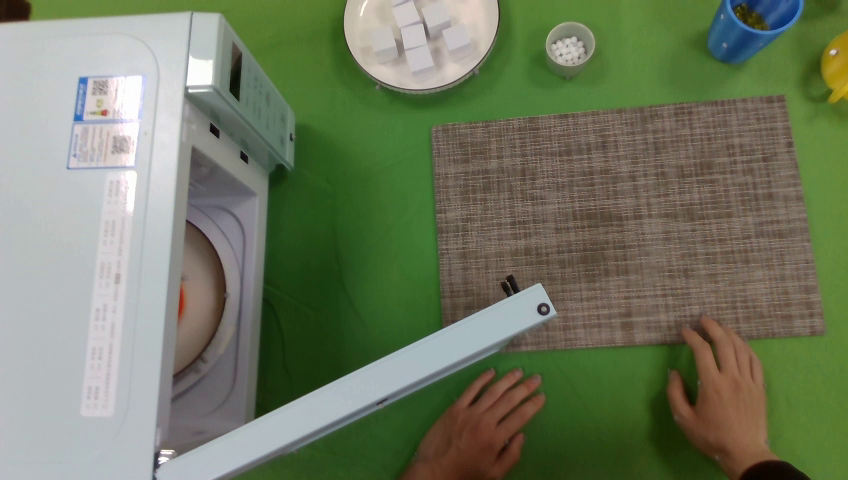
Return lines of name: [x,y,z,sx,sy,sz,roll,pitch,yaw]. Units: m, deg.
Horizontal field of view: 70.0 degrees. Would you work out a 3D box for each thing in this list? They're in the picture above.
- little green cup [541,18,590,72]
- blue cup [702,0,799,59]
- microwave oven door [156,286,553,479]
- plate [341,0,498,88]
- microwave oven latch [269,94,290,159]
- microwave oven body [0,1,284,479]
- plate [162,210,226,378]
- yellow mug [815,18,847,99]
little green cup: [0.182,-0.250,0.785,0.061,0.039,0.061,-1,79,5]
blue cup: [0.388,-0.271,0.740,0.092,0.100,0.092,-1,81,4]
microwave oven door: [-0.047,0.144,0.609,0.356,0.245,0.039,-26,77,0]
plate: [-0.005,-0.296,0.809,0.207,0.039,0.206,-1,79,5]
microwave oven latch: [-0.189,-0.146,0.777,0.030,0.029,0.079,1,80,5]
microwave oven body: [-0.344,0.013,0.662,0.326,0.261,0.440,-1,80,4]
plate: [-0.329,0.062,0.703,0.209,0.038,0.208,-1,80,3]
yellow mug: [0.535,-0.221,0.736,0.099,0.064,0.131,44,87,11]
